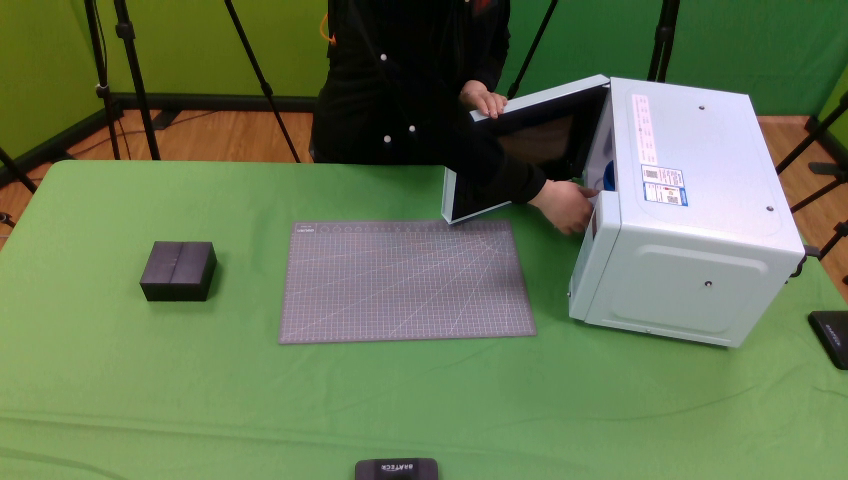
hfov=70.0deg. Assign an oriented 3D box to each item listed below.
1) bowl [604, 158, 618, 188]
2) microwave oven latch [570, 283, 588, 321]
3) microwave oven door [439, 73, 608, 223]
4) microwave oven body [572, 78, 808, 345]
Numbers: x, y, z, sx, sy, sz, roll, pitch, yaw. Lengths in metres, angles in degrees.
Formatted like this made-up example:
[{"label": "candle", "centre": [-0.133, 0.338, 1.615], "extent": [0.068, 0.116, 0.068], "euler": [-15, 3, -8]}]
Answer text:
[{"label": "bowl", "centre": [0.421, -0.094, 1.194], "extent": [0.151, 0.077, 0.150], "euler": [4, 48, -4]}, {"label": "microwave oven latch", "centre": [0.276, 0.105, 1.082], "extent": [0.030, 0.029, 0.079], "euler": [10, 45, 6]}, {"label": "microwave oven door", "centre": [0.199, -0.185, 1.215], "extent": [0.356, 0.245, 0.039], "euler": [-20, 51, -22]}, {"label": "microwave oven body", "centre": [0.456, -0.063, 1.125], "extent": [0.326, 0.261, 0.439], "euler": [8, 45, 5]}]
